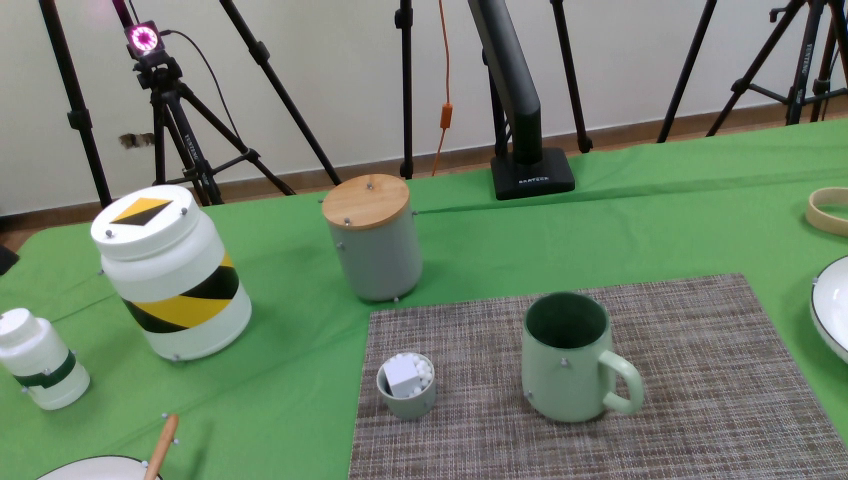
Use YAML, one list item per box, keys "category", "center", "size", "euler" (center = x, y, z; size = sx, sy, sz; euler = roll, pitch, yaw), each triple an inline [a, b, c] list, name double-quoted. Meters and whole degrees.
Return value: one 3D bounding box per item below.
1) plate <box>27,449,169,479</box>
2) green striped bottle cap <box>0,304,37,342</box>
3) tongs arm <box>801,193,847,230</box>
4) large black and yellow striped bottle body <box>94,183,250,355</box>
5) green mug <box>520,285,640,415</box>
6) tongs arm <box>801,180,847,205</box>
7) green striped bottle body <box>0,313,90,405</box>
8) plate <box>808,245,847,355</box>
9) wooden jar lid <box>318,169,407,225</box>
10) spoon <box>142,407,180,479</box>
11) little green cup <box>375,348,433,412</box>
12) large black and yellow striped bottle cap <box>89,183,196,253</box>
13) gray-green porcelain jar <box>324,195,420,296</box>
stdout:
- category: "plate"
  center: [-0.322, 0.288, 0.543]
  size: [0.209, 0.038, 0.207]
  euler: [-7, 37, 6]
- category: "green striped bottle cap"
  center: [-0.459, 0.092, 0.675]
  size: [0.044, 0.020, 0.044]
  euler: [-5, 39, 4]
- category: "tongs arm"
  center: [0.623, 0.012, 0.658]
  size: [0.384, 0.028, 0.028]
  euler: [21, 57, 35]
- category: "large black and yellow striped bottle body"
  center: [-0.304, 0.036, 0.740]
  size: [0.130, 0.186, 0.129]
  euler: [-7, 38, 6]
- category: "green mug"
  center: [0.150, 0.114, 0.582]
  size: [0.092, 0.106, 0.124]
  euler: [-37, 44, -29]
- category: "tongs arm"
  center: [0.663, -0.037, 0.703]
  size: [0.382, 0.027, 0.050]
  euler: [10, 48, 27]
- category: "green striped bottle body"
  center: [-0.450, 0.133, 0.706]
  size: [0.063, 0.120, 0.062]
  euler: [-7, 38, 6]
- category: "plate"
  center: [0.499, 0.076, 0.602]
  size: [0.207, 0.039, 0.205]
  euler: [-7, 38, 6]
- category: "wooden jar lid"
  center: [-0.073, -0.049, 0.735]
  size: [0.108, 0.021, 0.107]
  euler: [-7, 40, 6]
- category: "spoon"
  center: [-0.260, 0.239, 0.564]
  size: [0.041, 0.022, 0.192]
  euler: [-5, 46, 7]
- category: "little green cup"
  center: [-0.019, 0.148, 0.636]
  size: [0.061, 0.039, 0.061]
  euler: [-6, 37, 5]
- category: "large black and yellow striped bottle cap"
  center: [-0.319, -0.028, 0.687]
  size: [0.115, 0.019, 0.114]
  euler: [-7, 36, 6]
- category: "gray-green porcelain jar"
  center: [-0.063, 0.000, 0.772]
  size: [0.106, 0.128, 0.105]
  euler: [-7, 38, 6]
